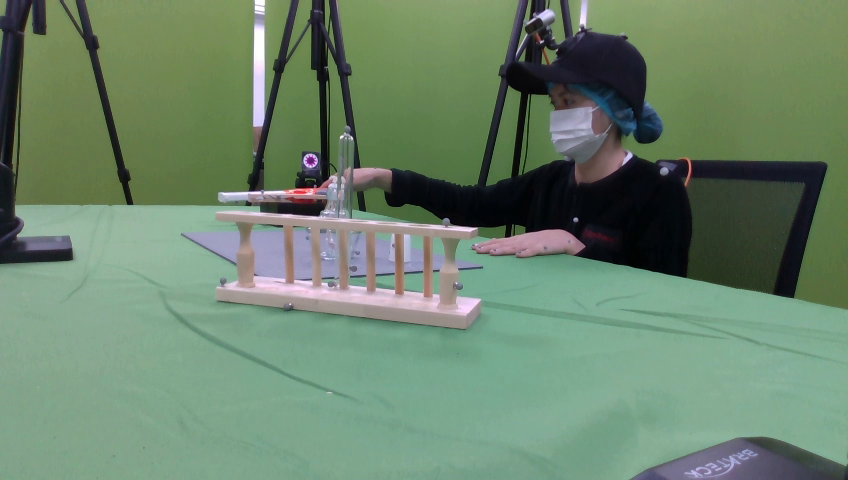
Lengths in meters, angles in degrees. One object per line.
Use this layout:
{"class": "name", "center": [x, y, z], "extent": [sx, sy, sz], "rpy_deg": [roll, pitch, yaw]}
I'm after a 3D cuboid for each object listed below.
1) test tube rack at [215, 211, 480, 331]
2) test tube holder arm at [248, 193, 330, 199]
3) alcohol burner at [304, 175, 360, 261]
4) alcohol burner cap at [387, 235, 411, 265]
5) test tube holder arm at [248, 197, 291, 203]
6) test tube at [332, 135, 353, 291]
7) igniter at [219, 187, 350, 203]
{"class": "test tube rack", "center": [-0.071, 0.023, 0.565], "extent": [0.242, 0.085, 0.067], "rpy_deg": [5, 7, 16]}
{"class": "test tube holder arm", "center": [-0.268, -0.089, 1.218], "extent": [0.179, 0.013, 0.015], "rpy_deg": [-6, 18, -40]}
{"class": "alcohol burner", "center": [-0.126, -0.031, 0.838], "extent": [0.078, 0.119, 0.078], "rpy_deg": [3, 5, 0]}
{"class": "alcohol burner cap", "center": [-0.035, 0.009, 0.839], "extent": [0.034, 0.048, 0.034], "rpy_deg": [2, 6, 0]}
{"class": "test tube holder arm", "center": [-0.303, -0.080, 1.191], "extent": [0.088, 0.010, 0.015], "rpy_deg": [-7, 18, -39]}
{"class": "test tube", "center": [-0.078, -0.025, 0.581], "extent": [0.017, 0.150, 0.017], "rpy_deg": [3, 7, 0]}
{"class": "igniter", "center": [-0.285, -0.094, 1.268], "extent": [0.278, 0.025, 0.057], "rpy_deg": [-5, 15, -34]}
